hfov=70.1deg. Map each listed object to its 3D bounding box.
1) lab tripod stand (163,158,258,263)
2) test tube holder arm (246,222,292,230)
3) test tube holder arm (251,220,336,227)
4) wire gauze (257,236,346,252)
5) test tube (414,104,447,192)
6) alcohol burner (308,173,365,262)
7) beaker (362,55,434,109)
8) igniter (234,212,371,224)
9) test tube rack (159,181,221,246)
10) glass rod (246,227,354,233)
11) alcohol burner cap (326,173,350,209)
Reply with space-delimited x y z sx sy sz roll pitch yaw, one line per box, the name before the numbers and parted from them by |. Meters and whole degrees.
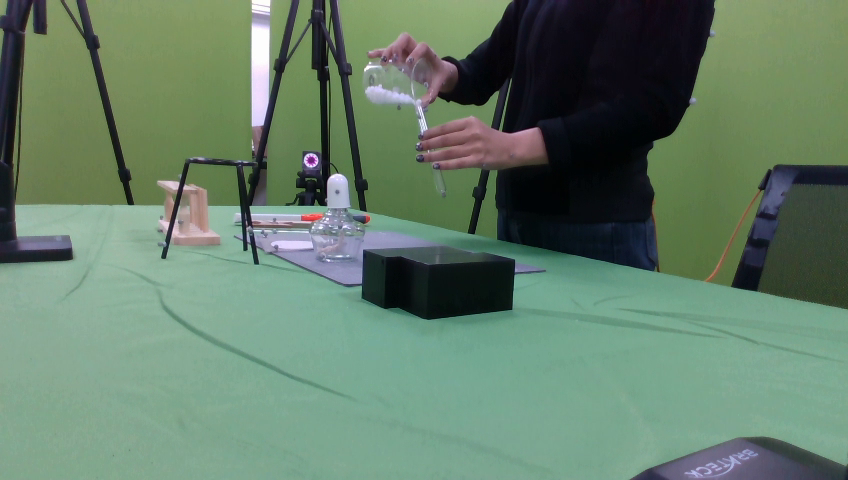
lab tripod stand | -0.265 -0.041 0.802 0.148 0.131 0.148 4 7 0
test tube holder arm | -0.291 -0.026 1.130 0.088 0.015 0.010 -1 44 -30
test tube holder arm | -0.254 -0.031 1.156 0.179 0.015 0.013 -2 44 -31
wire gauze | -0.190 0.005 0.931 0.122 0.011 0.124 1 7 -21
test tube | 0.010 -0.145 0.949 0.017 0.150 0.017 -15 -14 -3
alcohol burner | -0.117 -0.030 0.813 0.078 0.119 0.078 4 9 0
beaker | -0.044 -0.257 0.987 0.100 0.084 0.074 7 3 28
igniter | -0.245 -0.045 1.248 0.278 0.025 0.057 -1 -3 -25
test tube rack | -0.395 -0.050 1.010 0.067 0.085 0.241 -2 8 -28
glass rod | -0.224 -0.017 1.109 0.201 0.008 0.008 1 7 -27
alcohol burner cap | -0.116 -0.065 0.808 0.034 0.048 0.034 -3 10 1
